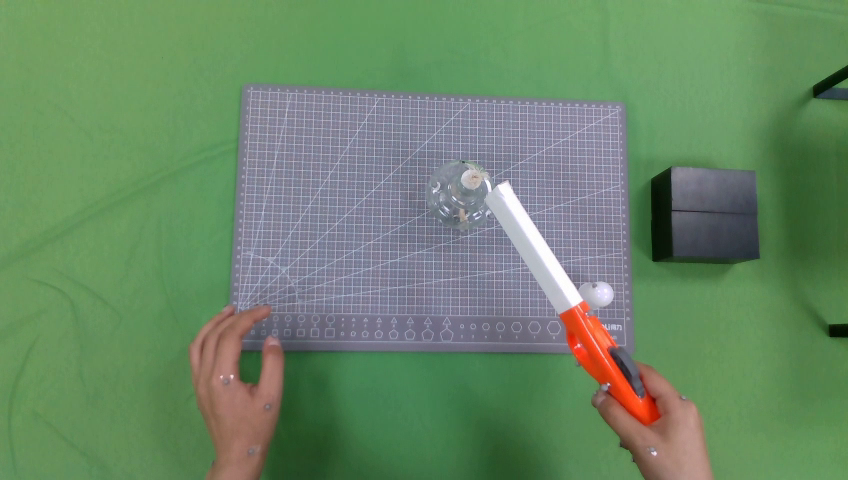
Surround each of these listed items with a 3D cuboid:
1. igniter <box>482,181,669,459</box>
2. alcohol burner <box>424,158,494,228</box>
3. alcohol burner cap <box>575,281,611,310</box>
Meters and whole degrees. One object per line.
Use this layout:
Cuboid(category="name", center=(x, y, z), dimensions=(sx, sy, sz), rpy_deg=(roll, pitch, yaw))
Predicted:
Cuboid(category="igniter", center=(0.134, 0.070, 0.542), dimensions=(0.025, 0.057, 0.275), rpy_deg=(-27, 81, -29))
Cuboid(category="alcohol burner", center=(0.040, -0.053, 0.639), dimensions=(0.078, 0.119, 0.077), rpy_deg=(1, 81, -7))
Cuboid(category="alcohol burner cap", center=(0.189, 0.061, 0.673), dimensions=(0.034, 0.048, 0.033), rpy_deg=(1, 80, -5))
